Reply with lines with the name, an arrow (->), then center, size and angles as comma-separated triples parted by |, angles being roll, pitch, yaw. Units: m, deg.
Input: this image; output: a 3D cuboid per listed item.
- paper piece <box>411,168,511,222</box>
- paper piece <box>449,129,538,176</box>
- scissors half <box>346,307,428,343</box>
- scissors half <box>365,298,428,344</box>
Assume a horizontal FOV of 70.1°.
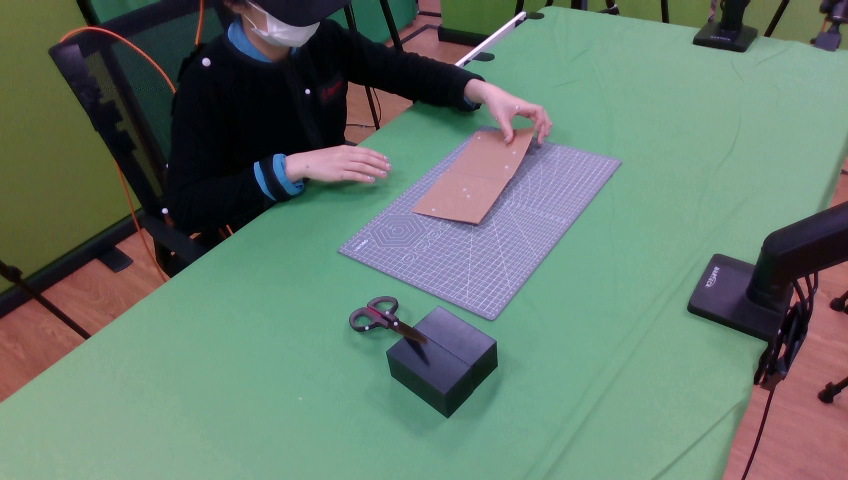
paper piece -> 0.064, -0.081, 1.049 | 0.134, 0.004, 0.136 | 12, 44, 29
paper piece -> 0.128, -0.165, 1.130 | 0.135, 0.009, 0.138 | 9, 50, 32
scissors half -> -0.051, 0.115, 0.799 | 0.040, 0.013, 0.174 | -29, 23, -36
scissors half -> -0.035, 0.107, 0.808 | 0.040, 0.013, 0.174 | -27, 22, -18
